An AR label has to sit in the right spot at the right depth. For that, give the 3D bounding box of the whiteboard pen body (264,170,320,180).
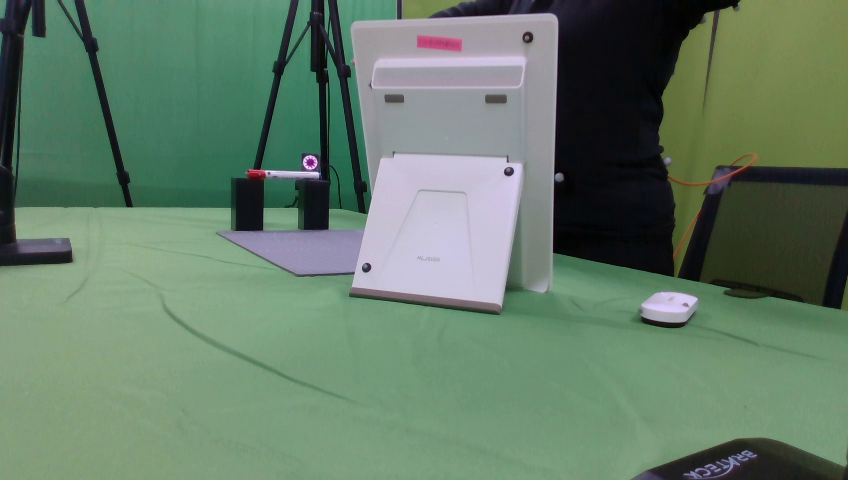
[{"bbox_3d":[-0.268,-0.127,1.179,0.141,0.017,0.017,-2,8,-36],"label":"whiteboard pen body"}]

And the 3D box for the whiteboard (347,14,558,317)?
[{"bbox_3d":[0.012,-0.056,0.609,0.216,0.305,0.144,5,27,20],"label":"whiteboard"}]

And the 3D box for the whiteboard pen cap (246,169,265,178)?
[{"bbox_3d":[-0.318,-0.125,1.143,0.032,0.017,0.017,-1,8,-35],"label":"whiteboard pen cap"}]

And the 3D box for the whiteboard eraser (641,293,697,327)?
[{"bbox_3d":[0.240,0.066,0.591,0.041,0.019,0.102,6,7,31],"label":"whiteboard eraser"}]
